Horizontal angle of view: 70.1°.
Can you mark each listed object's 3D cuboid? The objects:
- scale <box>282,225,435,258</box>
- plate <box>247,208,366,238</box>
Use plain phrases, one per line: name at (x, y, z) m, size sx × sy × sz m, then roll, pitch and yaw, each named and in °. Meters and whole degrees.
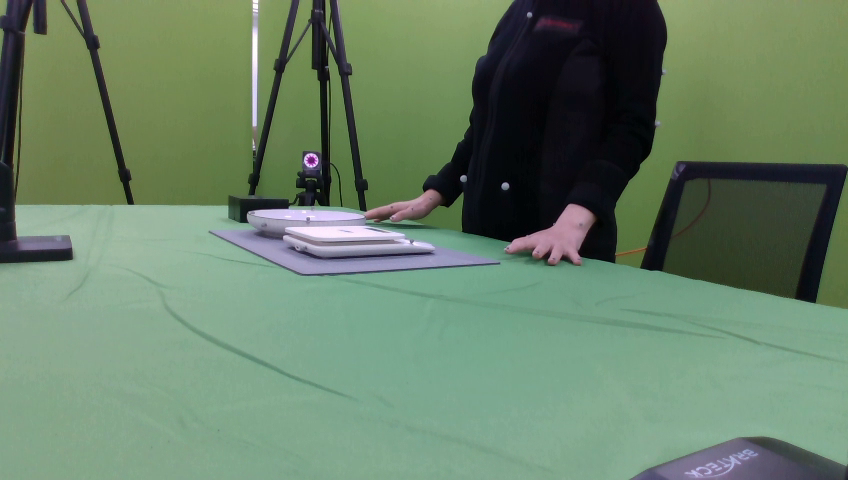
scale at (-0.098, 0.000, 0.914) m, size 0.202 × 0.031 × 0.148 m, roll -2°, pitch 9°, yaw -33°
plate at (-0.208, -0.030, 1.082) m, size 0.209 × 0.038 × 0.209 m, roll 2°, pitch 7°, yaw 0°
